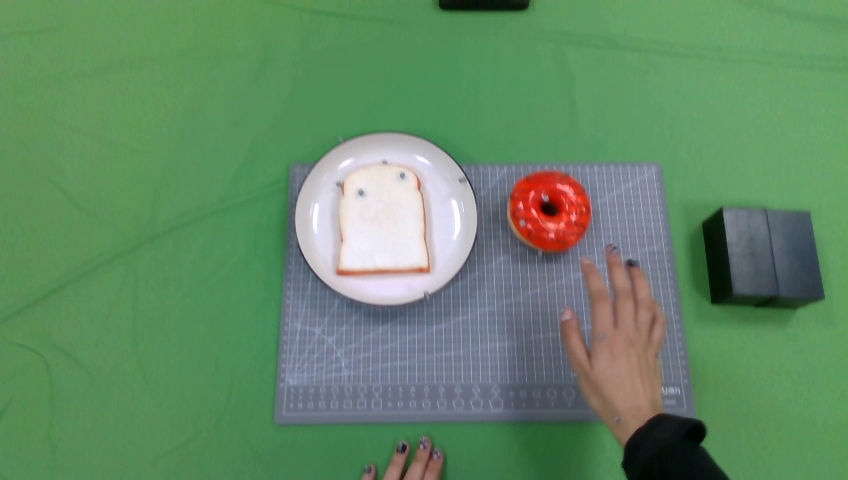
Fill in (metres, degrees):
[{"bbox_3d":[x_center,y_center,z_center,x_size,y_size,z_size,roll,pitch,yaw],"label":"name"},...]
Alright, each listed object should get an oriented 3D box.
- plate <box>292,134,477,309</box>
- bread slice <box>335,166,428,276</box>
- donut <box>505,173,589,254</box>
[{"bbox_3d":[-0.044,-0.021,0.692,0.209,0.038,0.208,1,72,-2],"label":"plate"},{"bbox_3d":[-0.051,-0.024,0.695,0.105,0.019,0.130,-3,73,-3],"label":"bread slice"},{"bbox_3d":[0.142,-0.031,0.698,0.099,0.048,0.098,1,73,-4],"label":"donut"}]
